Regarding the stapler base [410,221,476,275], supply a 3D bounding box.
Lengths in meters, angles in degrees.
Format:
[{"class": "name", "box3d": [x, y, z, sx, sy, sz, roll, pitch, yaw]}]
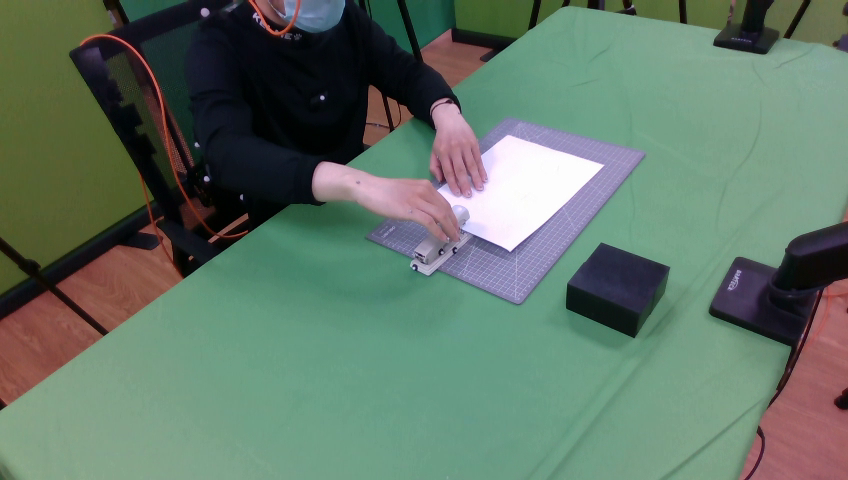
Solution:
[{"class": "stapler base", "box3d": [0.032, 0.003, 0.955, 0.041, 0.024, 0.131, 26, 53, 32]}]

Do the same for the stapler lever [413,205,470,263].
[{"class": "stapler lever", "box3d": [0.029, -0.012, 0.938, 0.026, 0.040, 0.118, 26, 50, 32]}]
